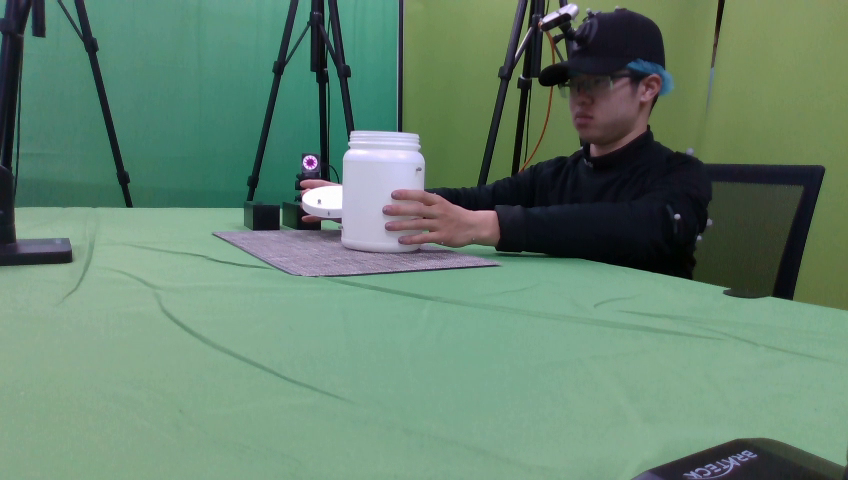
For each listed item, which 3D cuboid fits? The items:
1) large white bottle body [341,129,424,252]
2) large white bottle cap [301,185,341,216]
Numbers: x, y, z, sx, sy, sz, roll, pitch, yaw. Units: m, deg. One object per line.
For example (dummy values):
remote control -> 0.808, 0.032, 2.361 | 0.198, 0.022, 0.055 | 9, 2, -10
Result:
large white bottle body -> -0.065, -0.080, 0.958 | 0.131, 0.184, 0.130 | 2, 8, 0
large white bottle cap -> -0.164, -0.072, 1.092 | 0.115, 0.018, 0.114 | 2, 26, -1
